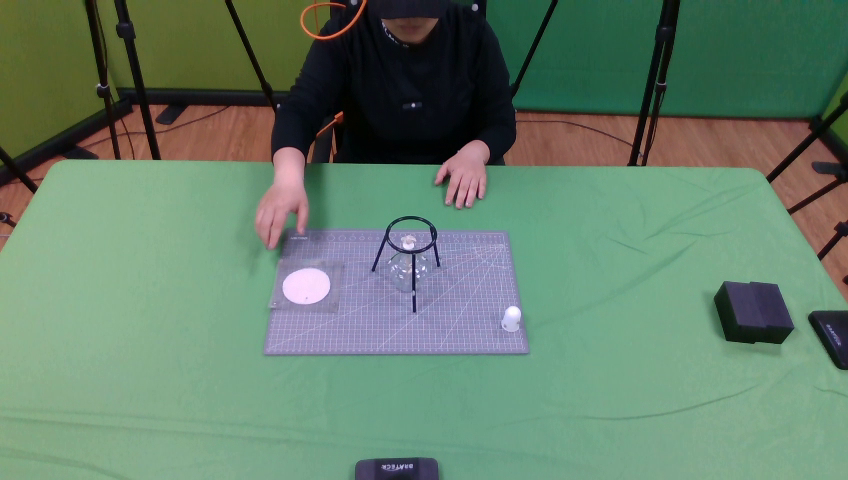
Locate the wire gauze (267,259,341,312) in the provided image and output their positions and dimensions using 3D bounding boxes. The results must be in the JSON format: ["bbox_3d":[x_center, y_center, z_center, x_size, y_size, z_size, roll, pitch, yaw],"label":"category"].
[{"bbox_3d":[-0.218,0.081,1.110,0.125,0.011,0.120,1,45,0],"label":"wire gauze"}]

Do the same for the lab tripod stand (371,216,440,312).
[{"bbox_3d":[-0.029,0.033,1.084,0.148,0.132,0.147,1,47,-1],"label":"lab tripod stand"}]

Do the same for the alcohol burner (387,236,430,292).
[{"bbox_3d":[-0.028,0.038,1.093,0.078,0.120,0.077,1,46,-1],"label":"alcohol burner"}]

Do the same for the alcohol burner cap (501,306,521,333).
[{"bbox_3d":[0.155,0.137,1.061,0.034,0.048,0.033,1,45,-1],"label":"alcohol burner cap"}]
